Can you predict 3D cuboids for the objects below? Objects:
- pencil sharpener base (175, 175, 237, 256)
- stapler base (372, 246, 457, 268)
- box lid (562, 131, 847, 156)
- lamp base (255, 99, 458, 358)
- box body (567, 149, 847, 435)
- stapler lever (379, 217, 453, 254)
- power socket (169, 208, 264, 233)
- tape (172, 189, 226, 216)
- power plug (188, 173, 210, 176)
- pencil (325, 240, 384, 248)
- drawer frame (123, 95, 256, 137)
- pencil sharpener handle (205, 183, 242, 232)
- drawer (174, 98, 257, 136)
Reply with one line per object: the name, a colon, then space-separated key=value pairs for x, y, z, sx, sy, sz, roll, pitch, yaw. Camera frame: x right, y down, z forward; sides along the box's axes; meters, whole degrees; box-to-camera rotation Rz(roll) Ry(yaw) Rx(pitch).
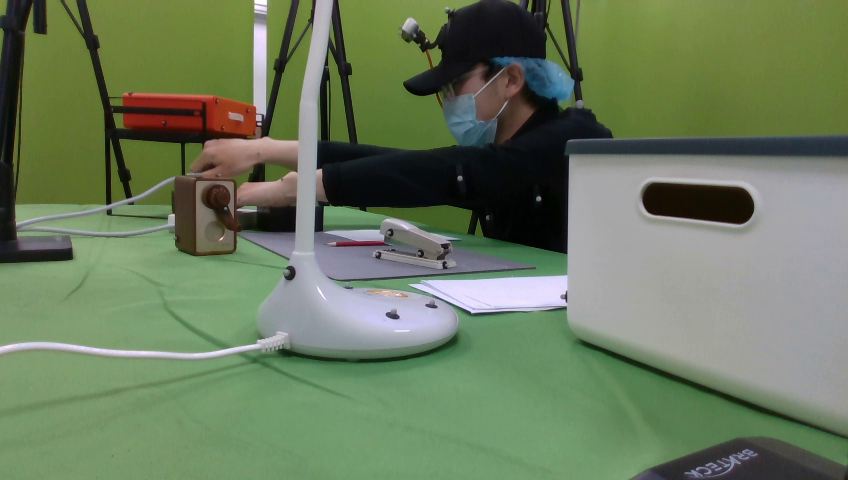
pencil sharpener base: x=-0.304 y=-0.035 z=0.847 sx=0.062 sy=0.107 sz=0.076 roll=-4 pitch=10 yaw=-42
stapler base: x=-0.016 y=0.017 z=0.831 sx=0.130 sy=0.024 sz=0.041 roll=10 pitch=12 yaw=39
box lid: x=0.322 y=-0.064 z=0.463 sx=0.373 sy=0.015 sz=0.262 roll=-2 pitch=9 yaw=-31
lamp base: x=-0.056 y=-0.013 z=0.462 sx=0.160 sy=0.180 sz=0.180 roll=6 pitch=11 yaw=27
box body: x=0.318 y=0.009 z=0.471 sx=0.366 sy=0.160 sz=0.253 roll=-2 pitch=8 yaw=-31
stapler lever: x=-0.013 y=-0.007 z=0.828 sx=0.117 sy=0.040 sz=0.027 roll=9 pitch=11 yaw=39
power socket: x=-0.381 y=-0.038 z=1.130 sx=0.072 sy=0.032 sz=0.227 roll=4 pitch=8 yaw=16
tape: x=-0.515 y=-0.087 z=1.388 sx=0.117 sy=0.052 sz=0.117 roll=3 pitch=8 yaw=0
power plug: x=-0.443 y=-0.106 z=1.186 sx=0.073 sy=0.052 sz=0.035 roll=-3 pitch=18 yaw=-16
pencil: x=-0.067 y=0.004 z=0.981 sx=0.195 sy=0.012 sz=0.012 roll=-4 pitch=9 yaw=-23
drawer frame: x=-0.524 y=-0.281 z=1.376 sx=0.213 sy=0.082 sz=0.202 roll=3 pitch=8 yaw=8
pencil sharpener handle: x=-0.265 y=-0.043 z=0.813 sx=0.036 sy=0.068 sz=0.030 roll=-32 pitch=28 yaw=-35
drawer: x=-0.518 y=-0.279 z=1.376 sx=0.211 sy=0.073 sz=0.195 roll=3 pitch=8 yaw=10
